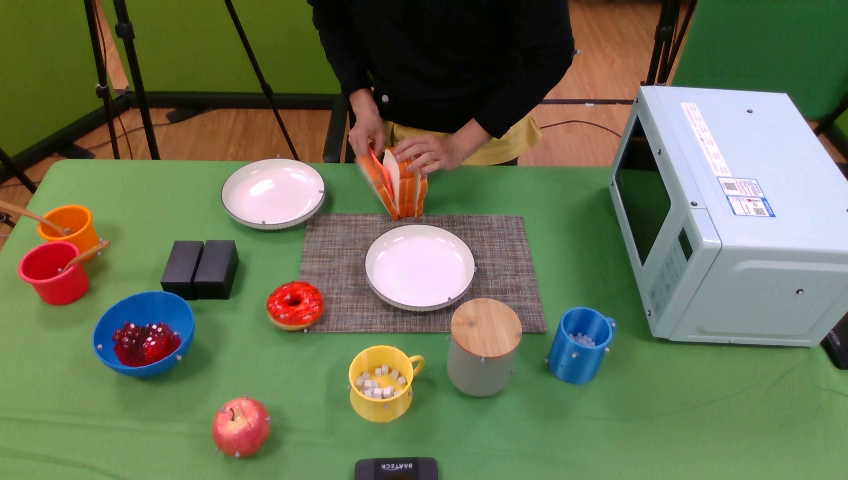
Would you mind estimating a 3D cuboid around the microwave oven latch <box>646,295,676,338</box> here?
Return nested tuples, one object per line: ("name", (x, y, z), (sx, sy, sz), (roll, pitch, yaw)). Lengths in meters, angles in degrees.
("microwave oven latch", (0.413, 0.133, 1.060), (0.030, 0.029, 0.078), (4, 46, 1))

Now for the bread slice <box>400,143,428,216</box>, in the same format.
("bread slice", (-0.020, -0.130, 1.241), (0.019, 0.132, 0.104), (-14, 49, -21))

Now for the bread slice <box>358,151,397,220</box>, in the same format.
("bread slice", (-0.096, -0.117, 1.217), (0.018, 0.135, 0.106), (-29, 51, -6))

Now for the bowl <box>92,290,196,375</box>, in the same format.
("bowl", (-0.436, 0.161, 0.971), (0.151, 0.077, 0.150), (2, 46, -2))

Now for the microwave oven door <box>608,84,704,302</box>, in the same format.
("microwave oven door", (0.424, -0.096, 1.138), (0.039, 0.245, 0.353), (3, 46, -1))

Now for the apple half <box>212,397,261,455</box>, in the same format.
("apple half", (-0.276, 0.276, 0.877), (0.053, 0.075, 0.080), (-29, 58, -21))

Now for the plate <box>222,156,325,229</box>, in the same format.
("plate", (-0.308, -0.094, 1.251), (0.209, 0.038, 0.208), (3, 46, -2))

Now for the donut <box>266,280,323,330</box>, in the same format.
("donut", (-0.223, 0.112, 1.051), (0.099, 0.048, 0.098), (2, 46, -2))

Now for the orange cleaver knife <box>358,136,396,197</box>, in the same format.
("orange cleaver knife", (-0.101, -0.159, 1.293), (0.012, 0.077, 0.210), (-24, 39, -9))

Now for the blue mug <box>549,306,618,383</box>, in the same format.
("blue mug", (0.269, 0.167, 0.997), (0.116, 0.106, 0.082), (-19, 50, -21))

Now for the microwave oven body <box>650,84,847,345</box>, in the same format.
("microwave oven body", (0.569, -0.054, 1.116), (0.326, 0.261, 0.439), (2, 46, -1))

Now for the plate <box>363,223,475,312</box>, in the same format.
("plate", (-0.009, 0.054, 1.126), (0.208, 0.039, 0.206), (2, 46, -2))

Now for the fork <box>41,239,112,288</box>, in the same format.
("fork", (-0.591, 0.040, 1.028), (0.207, 0.019, 0.028), (-27, 37, 29))

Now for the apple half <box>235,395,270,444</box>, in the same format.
("apple half", (-0.245, 0.260, 0.893), (0.033, 0.082, 0.081), (-29, 55, -22))

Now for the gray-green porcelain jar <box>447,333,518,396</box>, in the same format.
("gray-green porcelain jar", (0.091, 0.178, 0.960), (0.106, 0.127, 0.105), (2, 46, -2))

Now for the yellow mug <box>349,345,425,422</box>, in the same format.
("yellow mug", (-0.054, 0.217, 0.954), (0.131, 0.064, 0.099), (-23, 52, -25))

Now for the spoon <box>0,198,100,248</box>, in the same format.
("spoon", (-0.684, -0.035, 1.092), (0.021, 0.195, 0.041), (-34, 41, 26))

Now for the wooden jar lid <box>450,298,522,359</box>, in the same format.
("wooden jar lid", (0.093, 0.135, 0.914), (0.108, 0.021, 0.107), (2, 48, -3))
